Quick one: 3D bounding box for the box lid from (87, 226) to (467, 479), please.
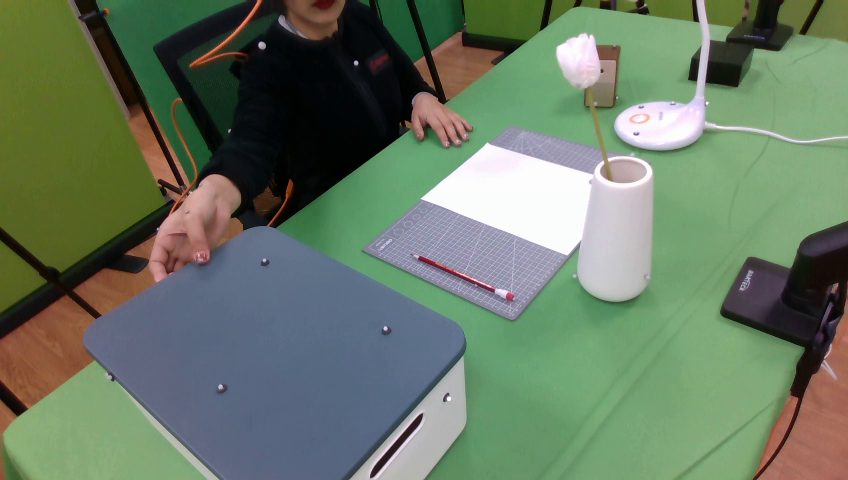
[{"bbox_3d":[-0.167,0.107,0.658,0.368,0.015,0.264,24,47,32],"label":"box lid"}]

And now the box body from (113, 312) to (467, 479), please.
[{"bbox_3d":[-0.155,0.169,0.707,0.361,0.161,0.255,23,49,33],"label":"box body"}]

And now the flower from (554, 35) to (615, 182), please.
[{"bbox_3d":[0.237,-0.083,0.774,0.044,0.363,0.038,-22,26,7],"label":"flower"}]

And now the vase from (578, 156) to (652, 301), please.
[{"bbox_3d":[0.261,-0.011,0.812,0.098,0.201,0.097,-4,40,4],"label":"vase"}]

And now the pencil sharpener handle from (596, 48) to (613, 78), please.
[{"bbox_3d":[0.383,-0.378,1.276,0.036,0.068,0.030,2,41,22],"label":"pencil sharpener handle"}]

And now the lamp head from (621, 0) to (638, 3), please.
[{"bbox_3d":[0.319,-0.453,0.962,0.113,0.123,0.112,20,33,-13],"label":"lamp head"}]

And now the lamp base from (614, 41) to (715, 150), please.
[{"bbox_3d":[0.449,-0.277,1.106,0.179,0.181,0.160,1,41,9],"label":"lamp base"}]

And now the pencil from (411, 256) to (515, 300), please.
[{"bbox_3d":[0.054,0.054,0.918,0.192,0.012,0.012,21,48,33],"label":"pencil"}]

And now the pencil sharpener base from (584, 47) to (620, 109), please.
[{"bbox_3d":[0.367,-0.336,1.248,0.061,0.107,0.076,6,42,19],"label":"pencil sharpener base"}]
